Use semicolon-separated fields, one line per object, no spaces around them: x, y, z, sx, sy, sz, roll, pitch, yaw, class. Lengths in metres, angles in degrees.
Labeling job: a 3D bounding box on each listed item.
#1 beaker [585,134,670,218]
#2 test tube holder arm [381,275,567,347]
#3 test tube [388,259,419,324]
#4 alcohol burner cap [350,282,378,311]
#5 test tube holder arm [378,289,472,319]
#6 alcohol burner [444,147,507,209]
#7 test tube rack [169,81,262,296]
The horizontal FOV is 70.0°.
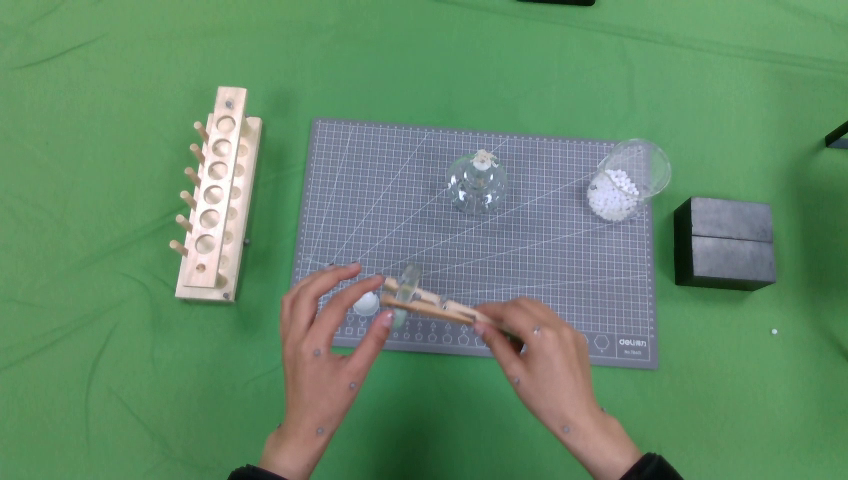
0.241;-0.074;0.740;0.084;0.101;0.073;3;73;0;beaker
0.046;0.066;0.558;0.178;0.015;0.013;17;74;-1;test tube holder arm
-0.021;0.052;0.561;0.017;0.151;0.017;3;66;-7;test tube
-0.072;0.065;0.715;0.034;0.048;0.033;1;74;-3;alcohol burner cap
0.001;0.059;0.555;0.088;0.015;0.010;11;74;-3;test tube holder arm
0.063;-0.081;0.726;0.078;0.119;0.077;0;74;-1;alcohol burner
-0.252;-0.061;0.722;0.067;0.085;0.241;5;74;-1;test tube rack
